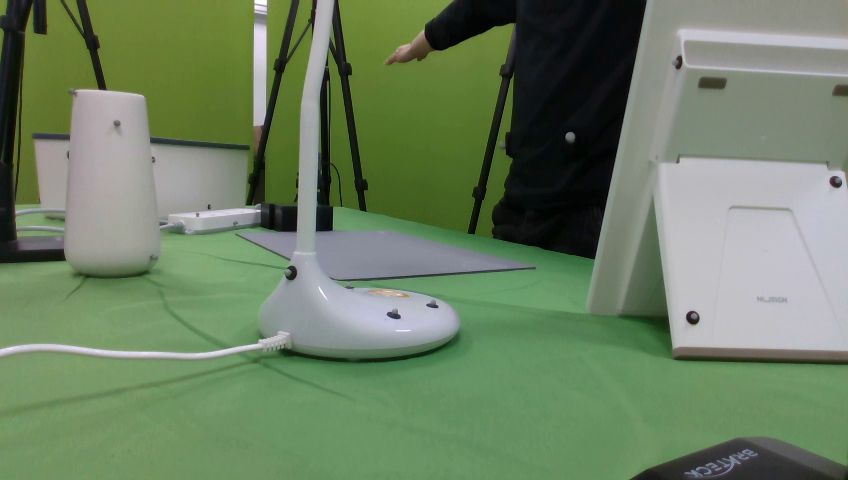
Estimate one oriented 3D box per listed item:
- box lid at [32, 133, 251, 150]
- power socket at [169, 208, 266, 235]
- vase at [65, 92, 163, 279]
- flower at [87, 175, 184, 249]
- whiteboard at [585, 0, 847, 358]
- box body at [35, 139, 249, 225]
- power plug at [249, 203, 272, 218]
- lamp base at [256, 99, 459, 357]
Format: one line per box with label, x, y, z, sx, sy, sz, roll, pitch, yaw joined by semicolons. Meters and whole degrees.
box lid;-0.558;-0.200;1.250;0.263;0.015;0.372;5;8;13
power socket;-0.379;-0.038;1.130;0.072;0.032;0.227;4;8;19
vase;-0.347;-0.060;0.673;0.098;0.200;0.098;1;7;0
flower;-0.610;-0.063;1.291;0.044;0.038;0.361;-5;25;9
whiteboard;0.269;-0.034;0.466;0.217;0.305;0.143;2;27;-1
box body;-0.561;-0.127;1.258;0.254;0.160;0.365;4;8;13
power plug;-0.361;-0.049;1.290;0.052;0.035;0.072;8;47;29
lamp base;-0.055;-0.013;0.463;0.160;0.180;0.180;6;11;27
